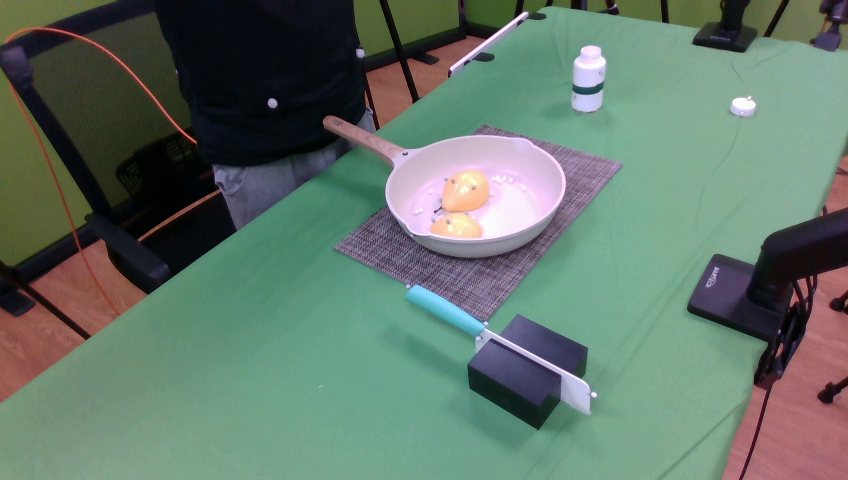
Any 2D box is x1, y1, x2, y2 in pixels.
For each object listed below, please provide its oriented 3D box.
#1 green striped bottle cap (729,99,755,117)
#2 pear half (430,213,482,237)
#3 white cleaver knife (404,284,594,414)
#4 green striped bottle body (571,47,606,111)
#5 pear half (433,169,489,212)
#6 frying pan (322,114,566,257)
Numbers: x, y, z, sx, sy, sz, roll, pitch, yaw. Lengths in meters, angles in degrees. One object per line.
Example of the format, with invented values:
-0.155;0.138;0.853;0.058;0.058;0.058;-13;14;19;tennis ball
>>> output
0.623;-0.259;1.182;0.044;0.020;0.044;-3;40;3;green striped bottle cap
0.050;-0.024;0.973;0.087;0.031;0.070;14;40;18;pear half
0.084;0.135;0.764;0.284;0.066;0.021;28;47;31;white cleaver knife
0.333;-0.327;1.224;0.063;0.120;0.063;-4;41;4;green striped bottle body
0.057;-0.083;1.024;0.110;0.056;0.075;-34;42;-25;pear half
0.004;-0.121;1.039;0.484;0.103;0.308;31;52;25;frying pan
